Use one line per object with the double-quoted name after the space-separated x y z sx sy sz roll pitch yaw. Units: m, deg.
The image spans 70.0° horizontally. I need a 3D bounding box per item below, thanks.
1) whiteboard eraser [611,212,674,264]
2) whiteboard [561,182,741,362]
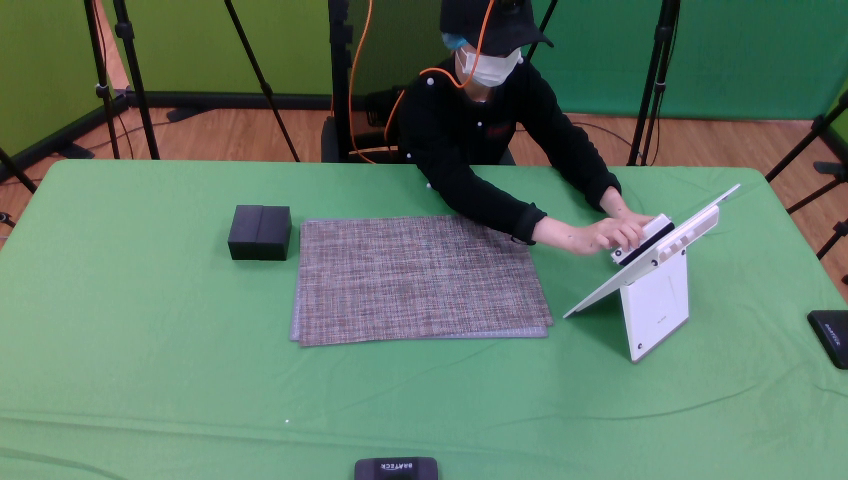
0.377 0.002 1.043 0.113 0.056 0.041 -41 76 15 "whiteboard eraser"
0.407 0.076 1.001 0.217 0.306 0.143 -28 73 -28 "whiteboard"
